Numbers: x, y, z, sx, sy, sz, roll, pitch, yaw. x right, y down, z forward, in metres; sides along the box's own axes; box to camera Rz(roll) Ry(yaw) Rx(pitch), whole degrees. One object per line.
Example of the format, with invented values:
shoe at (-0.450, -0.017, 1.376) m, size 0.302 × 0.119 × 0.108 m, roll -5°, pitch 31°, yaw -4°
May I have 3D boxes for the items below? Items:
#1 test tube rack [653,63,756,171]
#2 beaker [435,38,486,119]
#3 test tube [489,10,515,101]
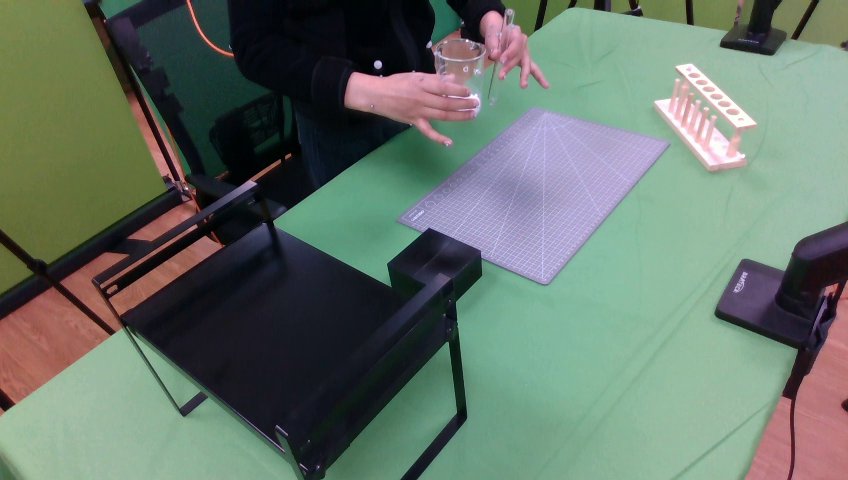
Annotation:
test tube rack at (0.510, -0.233, 1.120) m, size 0.067 × 0.085 × 0.241 m, roll -9°, pitch 41°, yaw -1°
beaker at (0.056, -0.243, 0.914) m, size 0.073 × 0.100 × 0.084 m, roll 22°, pitch 46°, yaw 22°
test tube at (0.124, -0.293, 0.974) m, size 0.017 × 0.150 × 0.017 m, roll 5°, pitch 39°, yaw -4°
